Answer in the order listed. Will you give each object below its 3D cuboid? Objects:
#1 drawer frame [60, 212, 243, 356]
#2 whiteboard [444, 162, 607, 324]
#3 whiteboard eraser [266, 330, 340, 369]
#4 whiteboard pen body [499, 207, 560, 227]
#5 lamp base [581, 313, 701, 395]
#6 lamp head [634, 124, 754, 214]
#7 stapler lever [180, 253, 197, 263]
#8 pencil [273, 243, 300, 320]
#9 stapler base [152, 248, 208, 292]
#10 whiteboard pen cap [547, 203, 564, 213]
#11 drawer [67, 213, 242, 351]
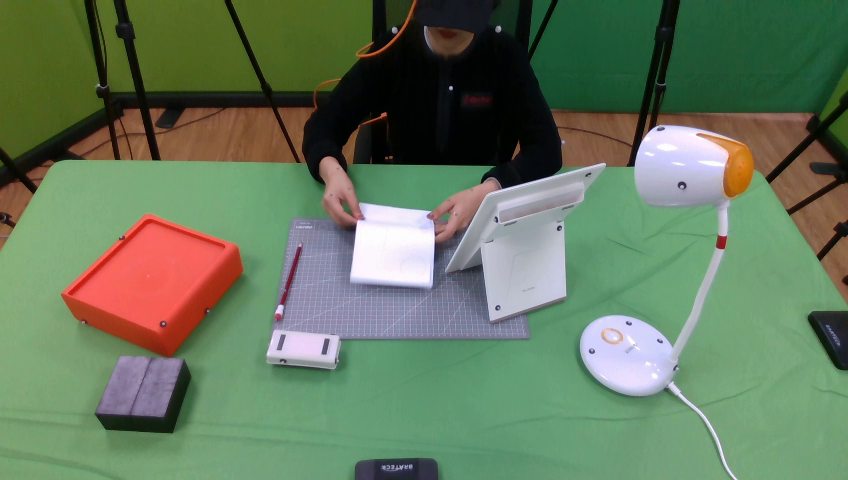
[{"bbox_3d":[-0.462,0.070,1.053,0.201,0.083,0.213,18,48,12],"label":"drawer frame"},{"bbox_3d":[0.186,0.025,1.029,0.217,0.306,0.143,-15,68,-18],"label":"whiteboard"},{"bbox_3d":[-0.198,0.181,0.994,0.113,0.042,0.055,5,45,1],"label":"whiteboard eraser"},{"bbox_3d":[0.221,-0.051,1.260,0.141,0.017,0.017,-15,49,-16],"label":"whiteboard pen body"},{"bbox_3d":[0.361,0.144,0.973,0.178,0.181,0.160,34,53,23],"label":"lamp base"},{"bbox_3d":[0.351,-0.089,0.775,0.112,0.113,0.122,-30,30,-28],"label":"lamp head"},{"bbox_3d":[-0.441,0.026,1.086,0.117,0.040,0.027,29,35,31],"label":"stapler lever"},{"bbox_3d":[-0.249,0.071,1.115,0.012,0.012,0.193,5,43,1],"label":"pencil"},{"bbox_3d":[-0.443,0.049,1.100,0.130,0.024,0.041,31,36,30],"label":"stapler base"},{"bbox_3d":[0.277,-0.066,1.275,0.033,0.018,0.018,-19,50,-15],"label":"whiteboard pen cap"},{"bbox_3d":[-0.461,0.068,1.057,0.194,0.073,0.211,19,48,13],"label":"drawer"}]
